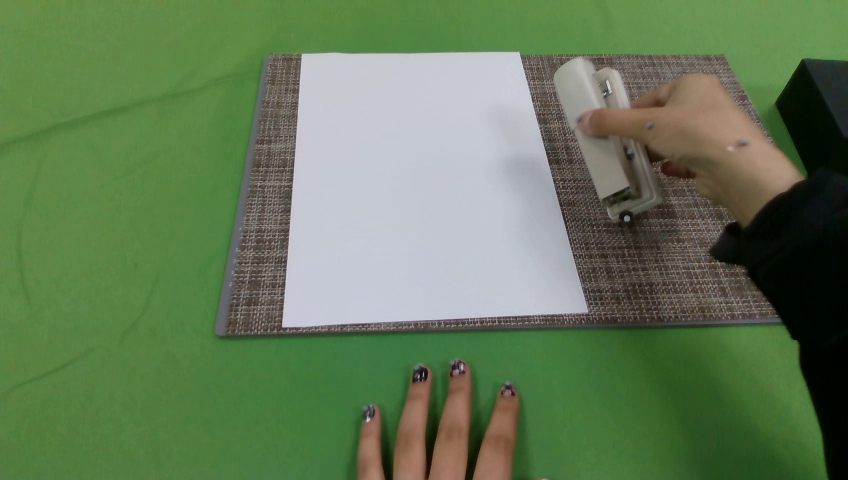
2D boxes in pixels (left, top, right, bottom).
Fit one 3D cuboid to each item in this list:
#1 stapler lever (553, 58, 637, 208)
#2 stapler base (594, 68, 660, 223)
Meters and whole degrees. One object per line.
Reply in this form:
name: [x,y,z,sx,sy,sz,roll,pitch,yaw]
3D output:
stapler lever: [0.126,-0.083,0.452,0.040,0.027,0.117,15,57,-42]
stapler base: [0.142,-0.079,0.470,0.024,0.041,0.129,14,57,-42]
